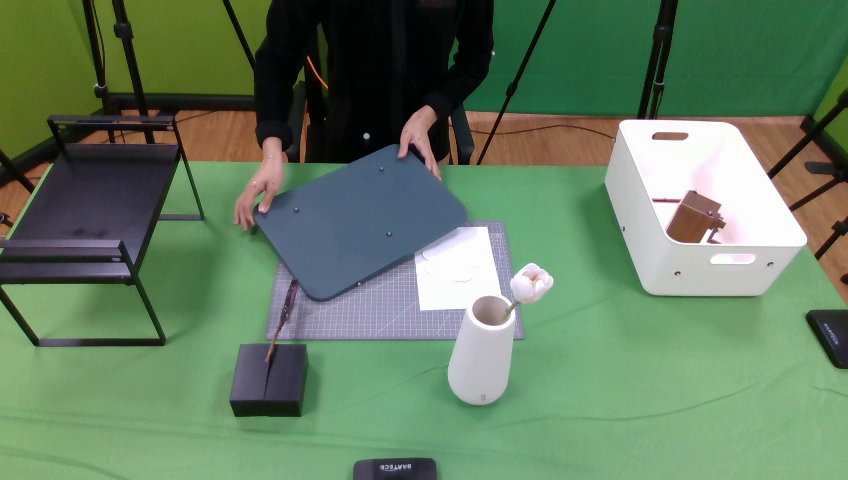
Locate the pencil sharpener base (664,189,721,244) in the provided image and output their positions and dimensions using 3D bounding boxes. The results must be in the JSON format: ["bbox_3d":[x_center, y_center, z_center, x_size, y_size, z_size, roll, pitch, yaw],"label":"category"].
[{"bbox_3d":[0.530,-0.034,1.202,0.076,0.107,0.061,30,51,21],"label":"pencil sharpener base"}]

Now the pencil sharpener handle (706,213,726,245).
[{"bbox_3d":[0.572,-0.019,1.174,0.030,0.068,0.036,30,47,22],"label":"pencil sharpener handle"}]

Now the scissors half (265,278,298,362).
[{"bbox_3d":[-0.234,0.127,0.993,0.013,0.040,0.174,12,46,-3],"label":"scissors half"}]

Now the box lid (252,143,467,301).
[{"bbox_3d":[-0.126,-0.050,1.204,0.371,0.015,0.262,-29,61,-24],"label":"box lid"}]

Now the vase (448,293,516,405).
[{"bbox_3d":[0.091,0.169,0.921,0.098,0.201,0.097,3,47,-3],"label":"vase"}]

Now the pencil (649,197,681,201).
[{"bbox_3d":[0.513,-0.090,1.322,0.194,0.012,0.012,2,46,1],"label":"pencil"}]

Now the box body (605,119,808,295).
[{"bbox_3d":[0.529,-0.068,1.205,0.254,0.161,0.361,1,46,-4],"label":"box body"}]

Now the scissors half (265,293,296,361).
[{"bbox_3d":[-0.239,0.143,1.005,0.013,0.040,0.174,17,28,-6],"label":"scissors half"}]

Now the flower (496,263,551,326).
[{"bbox_3d":[0.102,0.120,0.853,0.044,0.363,0.038,-1,64,-10],"label":"flower"}]
